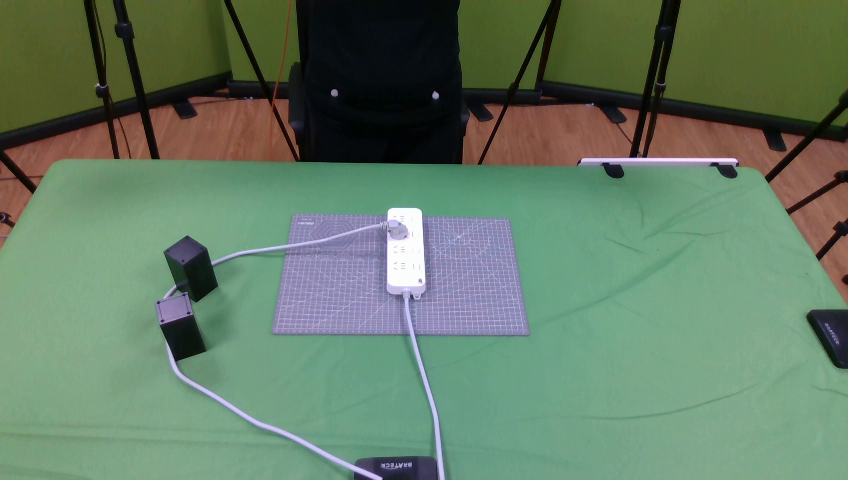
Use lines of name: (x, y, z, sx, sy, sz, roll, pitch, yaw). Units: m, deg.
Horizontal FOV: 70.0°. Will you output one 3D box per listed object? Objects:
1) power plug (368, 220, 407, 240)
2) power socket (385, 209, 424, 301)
power plug: (-0.068, -0.017, 1.172, 0.072, 0.053, 0.035, 7, 45, 5)
power socket: (-0.039, 0.019, 1.165, 0.072, 0.033, 0.225, 0, 46, -3)
